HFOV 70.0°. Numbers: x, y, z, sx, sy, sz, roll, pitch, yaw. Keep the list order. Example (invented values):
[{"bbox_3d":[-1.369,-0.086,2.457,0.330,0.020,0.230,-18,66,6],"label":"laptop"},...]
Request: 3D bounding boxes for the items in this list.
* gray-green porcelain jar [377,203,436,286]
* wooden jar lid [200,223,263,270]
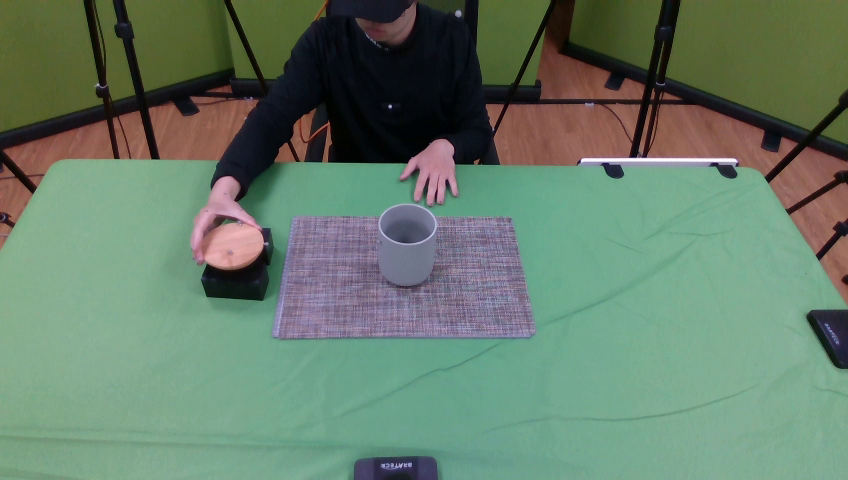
[{"bbox_3d":[-0.033,0.014,1.106,0.106,0.127,0.105,2,46,-2],"label":"gray-green porcelain jar"},{"bbox_3d":[-0.340,0.013,1.077,0.108,0.021,0.107,2,44,-2],"label":"wooden jar lid"}]
